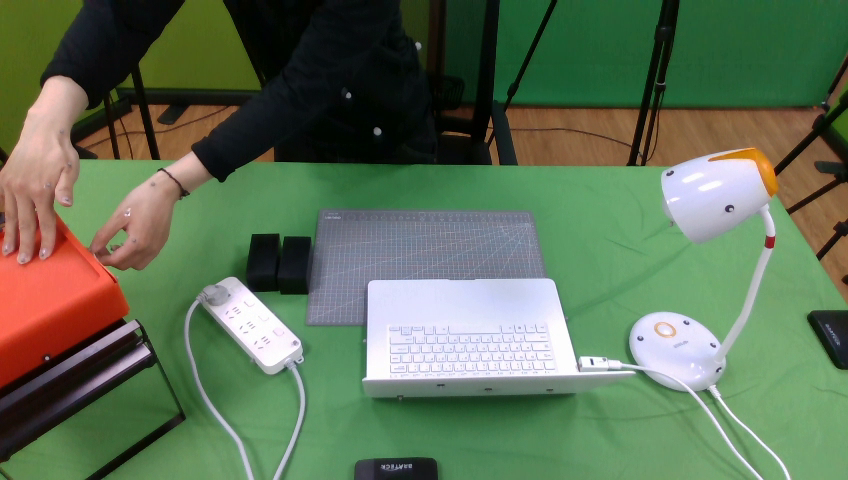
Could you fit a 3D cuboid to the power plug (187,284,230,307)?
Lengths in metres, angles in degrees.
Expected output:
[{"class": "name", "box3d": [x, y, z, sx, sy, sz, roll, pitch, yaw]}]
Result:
[{"class": "power plug", "box3d": [-0.369, 0.100, 1.036, 0.072, 0.053, 0.035, -24, 53, -23]}]

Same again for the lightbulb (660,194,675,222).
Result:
[{"class": "lightbulb", "box3d": [0.366, -0.060, 0.806, 0.060, 0.107, 0.059, 17, 60, -32]}]

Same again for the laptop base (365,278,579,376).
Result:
[{"class": "laptop base", "box3d": [0.076, 0.161, 1.053, 0.355, 0.023, 0.234, 0, 44, -4]}]

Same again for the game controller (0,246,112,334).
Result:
[{"class": "game controller", "box3d": [-0.509, 0.062, 0.832, 0.097, 0.052, 0.154, -30, 57, -33]}]

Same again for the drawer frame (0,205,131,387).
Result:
[{"class": "drawer frame", "box3d": [-0.540, 0.076, 0.795, 0.200, 0.083, 0.213, 36, 54, 26]}]

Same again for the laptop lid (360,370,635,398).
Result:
[{"class": "laptop lid", "box3d": [0.090, 0.208, 0.863, 0.357, 0.242, 0.013, 0, 70, -6]}]

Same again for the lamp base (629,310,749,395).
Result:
[{"class": "lamp base", "box3d": [0.447, 0.142, 0.984, 0.161, 0.181, 0.178, -24, 55, -24]}]

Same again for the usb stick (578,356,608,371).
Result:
[{"class": "usb stick", "box3d": [0.273, 0.207, 1.007, 0.059, 0.027, 0.021, 0, 51, 0]}]

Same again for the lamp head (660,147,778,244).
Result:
[{"class": "lamp head", "box3d": [0.389, -0.063, 0.784, 0.123, 0.113, 0.112, -22, 33, 37]}]

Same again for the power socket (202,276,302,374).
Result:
[{"class": "power socket", "box3d": [-0.297, 0.142, 1.033, 0.072, 0.033, 0.225, -34, 58, -31]}]

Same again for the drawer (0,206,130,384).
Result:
[{"class": "drawer", "box3d": [-0.538, 0.073, 0.800, 0.193, 0.073, 0.211, 37, 55, 26]}]
